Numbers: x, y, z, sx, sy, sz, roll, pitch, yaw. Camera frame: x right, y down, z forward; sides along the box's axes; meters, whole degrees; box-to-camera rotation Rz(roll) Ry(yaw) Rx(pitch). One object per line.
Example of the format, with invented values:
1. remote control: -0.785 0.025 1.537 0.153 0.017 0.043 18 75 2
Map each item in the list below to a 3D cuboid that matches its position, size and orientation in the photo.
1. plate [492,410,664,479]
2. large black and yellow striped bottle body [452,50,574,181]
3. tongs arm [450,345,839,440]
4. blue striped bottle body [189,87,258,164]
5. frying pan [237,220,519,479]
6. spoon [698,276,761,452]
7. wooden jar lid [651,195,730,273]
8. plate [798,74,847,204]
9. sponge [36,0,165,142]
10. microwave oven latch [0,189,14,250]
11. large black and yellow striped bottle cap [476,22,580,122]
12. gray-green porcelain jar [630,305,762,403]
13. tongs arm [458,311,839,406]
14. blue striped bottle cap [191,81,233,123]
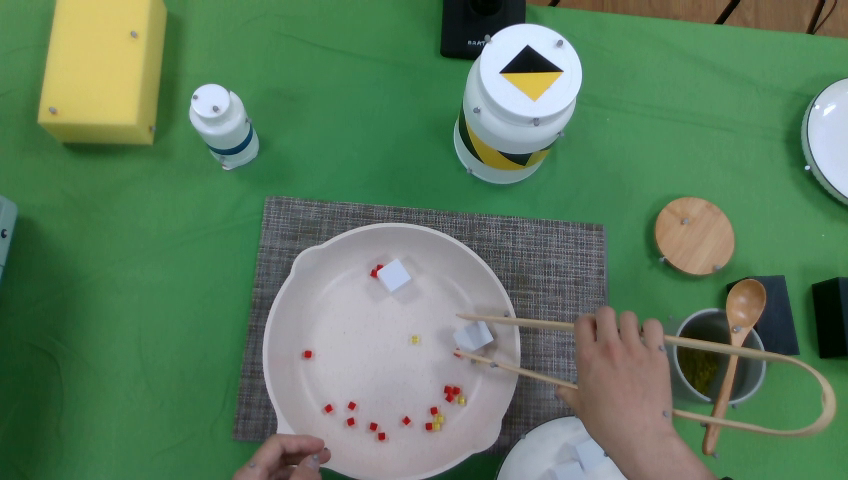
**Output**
1. plate: 0.177 0.304 0.706 0.208 0.039 0.206 1 77 -5
2. large black and yellow striped bottle body: 0.107 -0.163 0.749 0.131 0.184 0.130 1 74 -4
3. tongs arm: 0.172 0.127 0.587 0.027 0.382 0.050 24 80 -41
4. blue striped bottle body: -0.247 -0.145 0.744 0.063 0.121 0.062 1 75 -4
5. frying pan: -0.110 0.189 0.675 0.306 0.103 0.487 45 68 8
6. spoon: 0.322 0.131 0.647 0.042 0.021 0.193 21 78 -6
7. wooden jar lid: 0.356 -0.008 0.814 0.108 0.021 0.108 1 77 -4
8. plate: 0.629 -0.136 0.861 0.209 0.038 0.208 1 75 -4
9. sponge: -0.413 -0.235 0.784 0.118 0.061 0.205 0 76 -5
10. microwave oven latch: -0.510 -0.021 0.713 0.030 0.029 0.079 8 75 -3
11. large black and yellow striped bottle cap: 0.115 -0.186 0.668 0.115 0.019 0.114 1 77 -4
12. gray-green porcelain jar: 0.312 0.139 0.717 0.106 0.127 0.105 1 75 -4
13. tongs arm: 0.178 0.101 0.592 0.028 0.385 0.028 28 74 -40
14. blue striped bottle cap: -0.244 -0.159 0.696 0.044 0.021 0.044 1 77 -4
